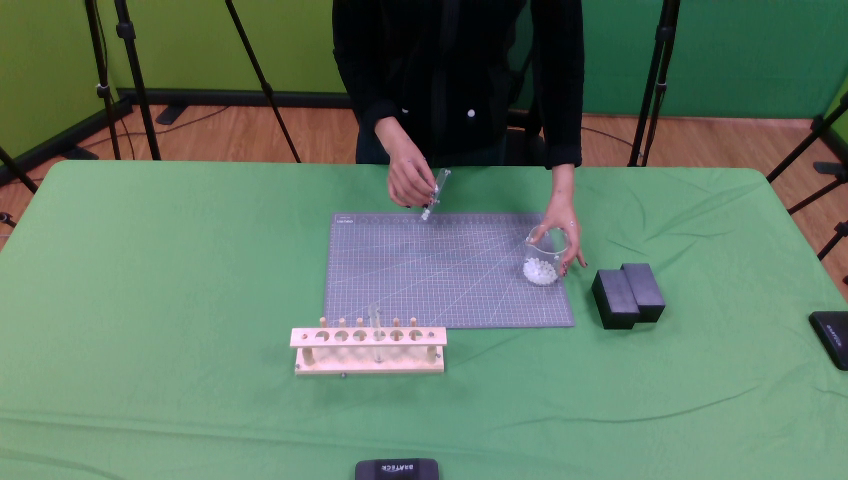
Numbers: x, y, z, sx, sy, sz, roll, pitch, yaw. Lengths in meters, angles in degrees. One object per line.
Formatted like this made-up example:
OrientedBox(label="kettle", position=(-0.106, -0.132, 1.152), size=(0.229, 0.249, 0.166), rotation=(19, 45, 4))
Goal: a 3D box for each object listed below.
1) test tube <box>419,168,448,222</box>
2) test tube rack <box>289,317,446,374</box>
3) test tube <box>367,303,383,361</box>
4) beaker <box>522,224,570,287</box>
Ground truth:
OrientedBox(label="test tube", position=(0.016, -0.081, 1.129), size=(0.017, 0.151, 0.017), rotation=(9, 53, -12))
OrientedBox(label="test tube rack", position=(-0.089, 0.167, 0.987), size=(0.242, 0.085, 0.066), rotation=(0, 46, -4))
OrientedBox(label="test tube", position=(-0.075, 0.146, 0.941), size=(0.017, 0.151, 0.017), rotation=(0, 49, 0))
OrientedBox(label="beaker", position=(0.222, 0.032, 1.129), size=(0.084, 0.101, 0.073), rotation=(-7, 46, -9))
